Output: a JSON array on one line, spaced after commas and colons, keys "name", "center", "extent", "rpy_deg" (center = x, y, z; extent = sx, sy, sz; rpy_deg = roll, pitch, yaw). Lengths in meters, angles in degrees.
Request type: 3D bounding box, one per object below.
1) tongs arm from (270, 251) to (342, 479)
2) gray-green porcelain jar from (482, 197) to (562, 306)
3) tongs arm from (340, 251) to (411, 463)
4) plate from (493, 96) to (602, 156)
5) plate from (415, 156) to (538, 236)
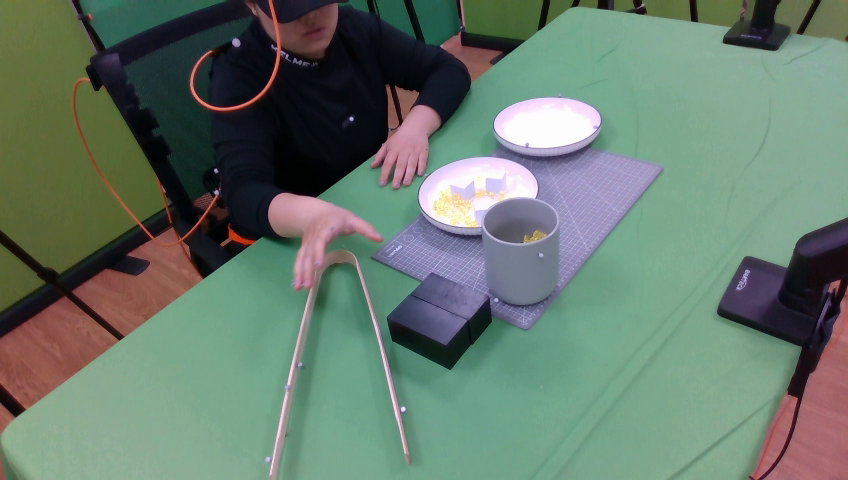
[{"name": "tongs arm", "center": [-0.153, 0.148, 0.826], "extent": [0.051, 0.026, 0.382], "rpy_deg": [-7, 38, 3]}, {"name": "gray-green porcelain jar", "center": [0.138, 0.020, 0.846], "extent": [0.106, 0.127, 0.105], "rpy_deg": [-5, 40, 5]}, {"name": "tongs arm", "center": [-0.071, 0.135, 0.830], "extent": [0.028, 0.028, 0.384], "rpy_deg": [-18, 40, -5]}, {"name": "plate", "center": [0.238, -0.218, 1.180], "extent": [0.209, 0.038, 0.208], "rpy_deg": [-4, 39, 4]}, {"name": "plate", "center": [0.090, -0.072, 1.034], "extent": [0.207, 0.039, 0.206], "rpy_deg": [-5, 40, 5]}]
